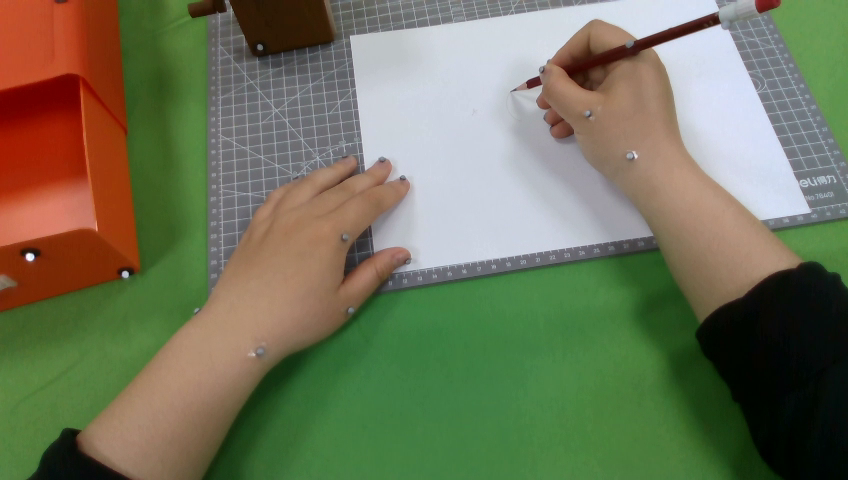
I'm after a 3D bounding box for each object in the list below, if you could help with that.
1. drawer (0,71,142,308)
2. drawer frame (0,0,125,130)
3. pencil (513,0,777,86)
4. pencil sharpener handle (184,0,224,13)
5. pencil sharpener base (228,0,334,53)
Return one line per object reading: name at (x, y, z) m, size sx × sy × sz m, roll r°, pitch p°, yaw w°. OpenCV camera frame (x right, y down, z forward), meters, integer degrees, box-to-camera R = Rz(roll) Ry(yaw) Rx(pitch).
drawer at (-0.311, -0.055, 0.410) m, size 0.194 × 0.074 × 0.210 m, roll -17°, pitch 66°, yaw -4°
drawer frame at (-0.345, -0.157, 0.455) m, size 0.202 × 0.083 × 0.211 m, roll -16°, pitch 66°, yaw -4°
pencil at (0.122, -0.121, 0.380) m, size 0.012 × 0.193 × 0.012 m, roll 1°, pitch 87°, yaw -34°
pencil sharpener handle at (-0.166, -0.192, 0.433) m, size 0.030 × 0.068 × 0.035 m, roll -14°, pitch 63°, yaw -3°
pencil sharpener base at (-0.116, -0.201, 0.448) m, size 0.077 × 0.108 × 0.061 m, roll -14°, pitch 66°, yaw -3°
